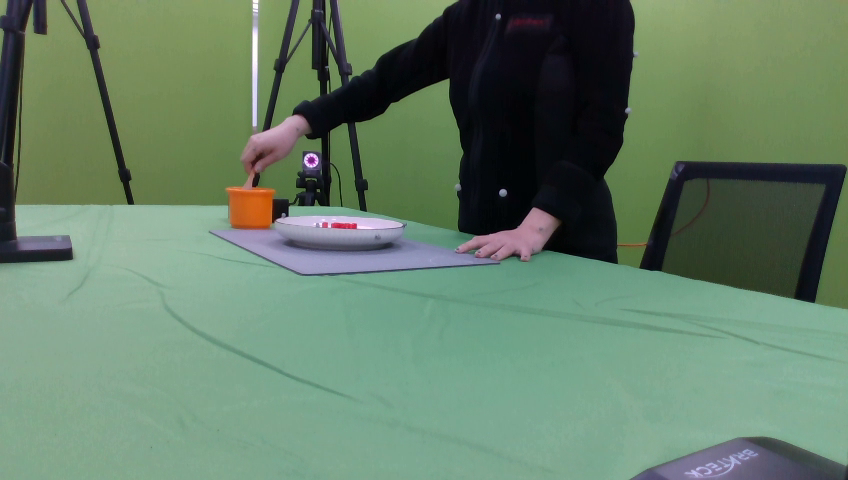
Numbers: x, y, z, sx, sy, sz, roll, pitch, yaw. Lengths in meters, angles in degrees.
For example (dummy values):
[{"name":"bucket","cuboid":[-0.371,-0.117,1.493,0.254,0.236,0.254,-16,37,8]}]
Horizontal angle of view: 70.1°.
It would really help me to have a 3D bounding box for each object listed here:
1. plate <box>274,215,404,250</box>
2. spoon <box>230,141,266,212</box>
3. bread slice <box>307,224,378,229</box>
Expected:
[{"name":"plate","cuboid":[-0.137,-0.013,0.981,0.209,0.038,0.209,2,7,0]},{"name":"spoon","cuboid":[-0.340,-0.129,1.198,0.042,0.193,0.021,16,-35,-11]},{"name":"bread slice","cuboid":[-0.134,-0.011,0.974,0.135,0.018,0.106,-3,8,-33]}]
